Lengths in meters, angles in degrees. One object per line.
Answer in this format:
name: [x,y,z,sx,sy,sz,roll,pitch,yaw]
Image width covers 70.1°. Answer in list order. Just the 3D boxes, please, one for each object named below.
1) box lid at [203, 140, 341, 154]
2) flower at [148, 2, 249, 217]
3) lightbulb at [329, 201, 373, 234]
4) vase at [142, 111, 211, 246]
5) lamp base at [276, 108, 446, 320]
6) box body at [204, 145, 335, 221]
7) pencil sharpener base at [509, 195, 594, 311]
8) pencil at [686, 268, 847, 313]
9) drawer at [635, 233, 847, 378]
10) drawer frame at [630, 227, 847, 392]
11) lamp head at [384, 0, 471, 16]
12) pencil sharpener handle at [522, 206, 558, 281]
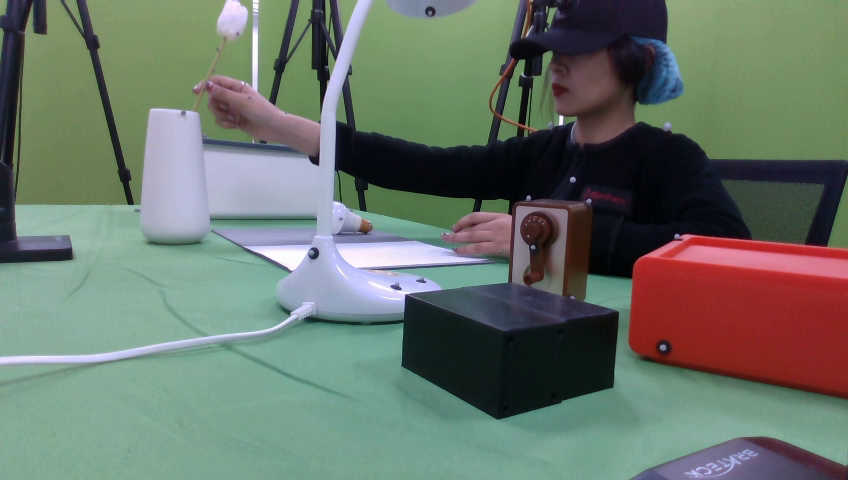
box lid: [-0.396,-0.212,1.373,0.373,0.015,0.262,-1,9,-29]
flower: [-0.346,-0.202,0.920,0.038,0.361,0.044,14,-14,14]
lightbulb: [-0.143,-0.036,1.108,0.108,0.059,0.059,16,0,-28]
vase: [-0.378,-0.093,0.920,0.098,0.200,0.098,1,9,0]
lamp base: [-0.061,-0.027,0.555,0.160,0.180,0.180,5,10,20]
box body: [-0.411,-0.135,1.386,0.366,0.160,0.253,-2,9,-29]
pencil sharpener base: [0.126,0.011,0.601,0.061,0.107,0.077,7,9,30]
pencil: [0.308,0.045,0.515,0.194,0.012,0.012,13,5,-12]
drawer: [0.292,0.044,0.488,0.193,0.073,0.213,7,9,30]
drawer frame: [0.292,0.043,0.484,0.201,0.082,0.214,7,9,29]
lamp head: [-0.001,-0.301,0.599,0.112,0.112,0.123,4,-30,14]
pencil sharpener handle: [0.101,0.003,0.555,0.036,0.067,0.031,0,5,31]
